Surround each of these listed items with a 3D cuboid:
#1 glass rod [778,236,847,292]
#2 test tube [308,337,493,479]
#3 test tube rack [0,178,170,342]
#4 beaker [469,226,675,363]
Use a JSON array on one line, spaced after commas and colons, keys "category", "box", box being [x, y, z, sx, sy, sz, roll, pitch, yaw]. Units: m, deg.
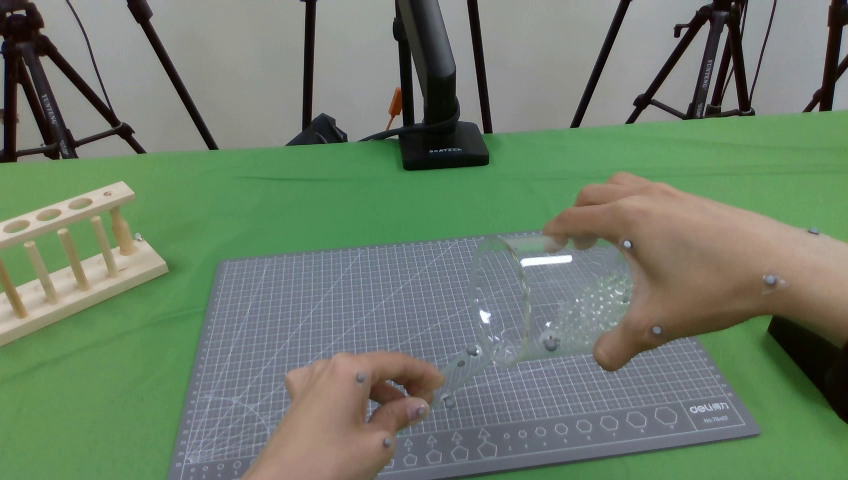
[{"category": "glass rod", "box": [0.373, 0.052, 0.509, 0.008, 0.008, 0.197, -11, 37, -13]}, {"category": "test tube", "box": [-0.018, 0.110, 0.380, 0.150, 0.017, 0.017, -40, 36, 13]}, {"category": "test tube rack", "box": [-0.383, 0.030, 0.576, 0.242, 0.086, 0.066, -28, 44, -33]}, {"category": "beaker", "box": [0.086, 0.031, 0.355, 0.100, 0.084, 0.073, -4, 40, -18]}]
